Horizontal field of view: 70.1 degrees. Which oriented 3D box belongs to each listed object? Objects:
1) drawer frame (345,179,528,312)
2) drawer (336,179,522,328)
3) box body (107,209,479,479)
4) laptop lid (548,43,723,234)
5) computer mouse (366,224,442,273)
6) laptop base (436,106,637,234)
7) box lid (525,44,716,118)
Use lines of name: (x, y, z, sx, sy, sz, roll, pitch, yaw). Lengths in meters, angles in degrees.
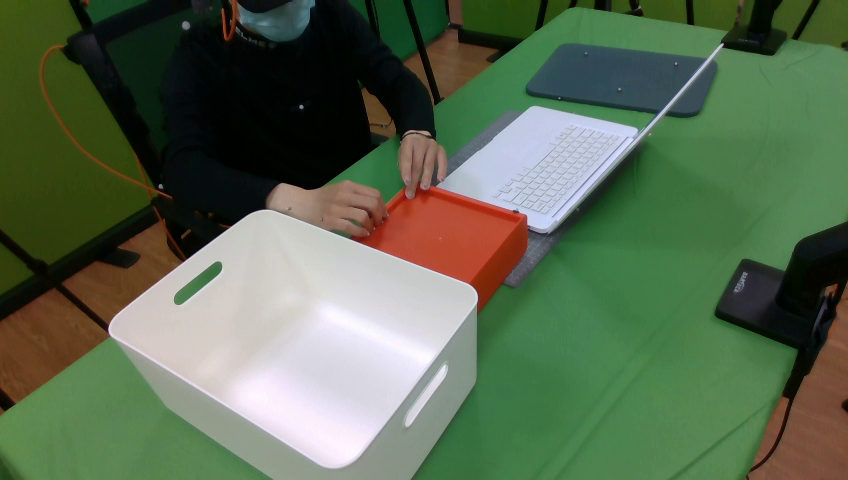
drawer frame: (0.016, 0.013, 0.906, 0.212, 0.083, 0.202, 20, 48, 28)
drawer: (0.011, 0.013, 0.909, 0.210, 0.073, 0.195, 21, 49, 28)
box body: (-0.140, 0.136, 0.725, 0.361, 0.161, 0.254, 19, 47, 28)
laptop lid: (0.336, -0.160, 0.956, 0.013, 0.241, 0.358, 43, 54, 8)
computer mouse: (-0.030, 0.006, 0.934, 0.118, 0.041, 0.062, -29, 40, -34)
laptop base: (0.210, -0.142, 1.111, 0.233, 0.023, 0.355, 21, 48, 33)
box lid: (0.432, -0.360, 1.341, 0.369, 0.015, 0.263, 16, 45, 24)
